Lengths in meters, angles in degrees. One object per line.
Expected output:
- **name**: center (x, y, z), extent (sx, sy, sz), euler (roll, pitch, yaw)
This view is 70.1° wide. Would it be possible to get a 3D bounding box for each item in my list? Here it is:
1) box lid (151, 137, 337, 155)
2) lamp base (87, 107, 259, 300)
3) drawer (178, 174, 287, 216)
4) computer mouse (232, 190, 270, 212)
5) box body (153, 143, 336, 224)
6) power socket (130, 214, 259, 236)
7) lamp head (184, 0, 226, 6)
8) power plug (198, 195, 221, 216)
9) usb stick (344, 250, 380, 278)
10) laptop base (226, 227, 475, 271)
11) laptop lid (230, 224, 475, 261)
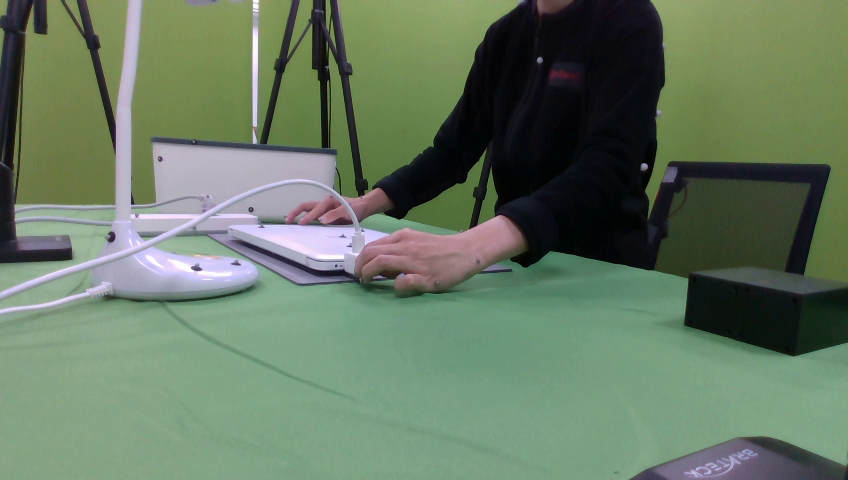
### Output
- **box lid**: center (-0.379, -0.203, 1.334), extent (0.372, 0.015, 0.262), euler (3, 7, -9)
- **lamp base**: center (-0.254, -0.039, 0.603), extent (0.160, 0.180, 0.179), euler (4, 10, 18)
- **drawer**: center (-0.414, -0.104, 1.342), extent (0.212, 0.073, 0.194), euler (5, 6, -11)
- **computer mouse**: center (-0.382, -0.086, 1.343), extent (0.063, 0.041, 0.117), euler (10, 10, -4)
- **box body**: center (-0.380, -0.130, 1.344), extent (0.365, 0.160, 0.253), euler (1, 7, -9)
- **power socket**: center (-0.397, -0.028, 1.048), extent (0.228, 0.032, 0.072), euler (-3, 7, -35)
- **lamp head**: center (-0.229, -0.320, 0.627), extent (0.112, 0.112, 0.123), euler (6, -35, 26)
- **power plug**: center (-0.386, -0.055, 1.088), extent (0.035, 0.052, 0.072), euler (-1, 6, -24)
- **usb stick**: center (-0.074, 0.026, 0.687), extent (0.021, 0.027, 0.059), euler (-7, 8, -35)
- **laptop base**: center (-0.123, 0.011, 0.888), extent (0.237, 0.023, 0.352), euler (2, 6, -35)
- **laptop lid**: center (-0.120, 0.000, 0.888), extent (0.243, 0.013, 0.355), euler (1, 7, -33)
